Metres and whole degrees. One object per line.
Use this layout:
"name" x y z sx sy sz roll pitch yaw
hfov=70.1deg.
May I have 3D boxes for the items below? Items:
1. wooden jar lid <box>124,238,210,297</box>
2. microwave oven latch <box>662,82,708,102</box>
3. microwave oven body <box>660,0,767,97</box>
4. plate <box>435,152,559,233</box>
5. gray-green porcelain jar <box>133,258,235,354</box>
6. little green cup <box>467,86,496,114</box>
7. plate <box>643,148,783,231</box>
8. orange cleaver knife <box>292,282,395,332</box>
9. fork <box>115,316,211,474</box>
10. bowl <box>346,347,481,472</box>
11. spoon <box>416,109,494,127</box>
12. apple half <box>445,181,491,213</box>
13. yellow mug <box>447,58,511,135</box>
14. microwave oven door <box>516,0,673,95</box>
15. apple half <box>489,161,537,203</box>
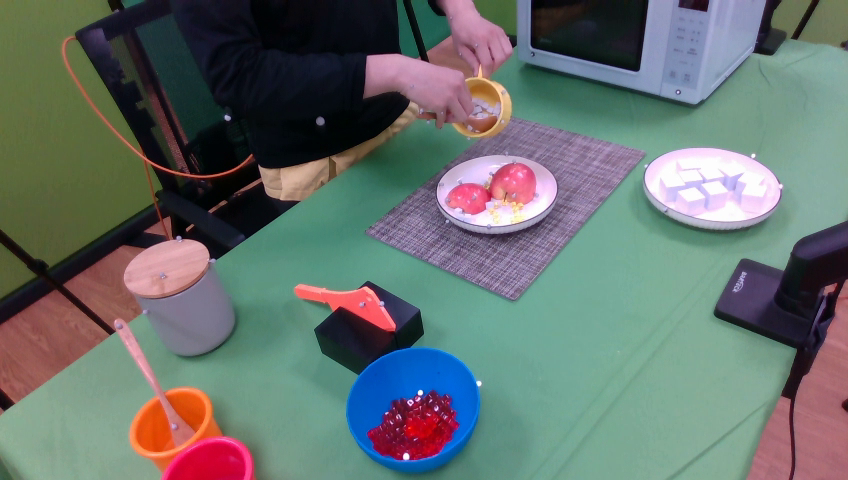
"wooden jar lid" -0.335 0.038 0.794 0.108 0.021 0.108 -2 40 2
"microwave oven latch" 0.518 -0.298 1.203 0.078 0.029 0.030 28 53 35
"microwave oven body" 0.474 -0.517 1.313 0.438 0.261 0.327 26 51 34
"plate" 0.124 -0.078 1.026 0.209 0.038 0.208 -4 40 4
"gray-green porcelain jar" -0.327 0.086 0.836 0.106 0.127 0.105 -4 41 4
"little green cup" 0.123 -0.297 1.284 0.061 0.039 0.061 -5 39 4
"plate" 0.464 -0.080 0.986 0.207 0.039 0.206 -4 41 4
"orange cleaver knife" -0.116 0.091 0.835 0.209 0.077 0.012 2 32 48
"fork" -0.308 0.179 0.708 0.028 0.018 0.207 -30 89 -23
"bowl" -0.008 0.205 0.691 0.151 0.077 0.150 -4 40 4
"spoon" 0.052 -0.204 0.993 0.195 0.041 0.021 -5 66 -46
"apple half" 0.076 -0.083 1.029 0.081 0.033 0.081 -2 42 2
"yellow mug" 0.098 -0.248 1.046 0.099 0.131 0.064 9 12 17
"microwave oven door" 0.344 -0.458 1.257 0.353 0.245 0.039 26 51 33
"apple half" 0.154 -0.106 1.030 0.080 0.053 0.075 22 46 31
